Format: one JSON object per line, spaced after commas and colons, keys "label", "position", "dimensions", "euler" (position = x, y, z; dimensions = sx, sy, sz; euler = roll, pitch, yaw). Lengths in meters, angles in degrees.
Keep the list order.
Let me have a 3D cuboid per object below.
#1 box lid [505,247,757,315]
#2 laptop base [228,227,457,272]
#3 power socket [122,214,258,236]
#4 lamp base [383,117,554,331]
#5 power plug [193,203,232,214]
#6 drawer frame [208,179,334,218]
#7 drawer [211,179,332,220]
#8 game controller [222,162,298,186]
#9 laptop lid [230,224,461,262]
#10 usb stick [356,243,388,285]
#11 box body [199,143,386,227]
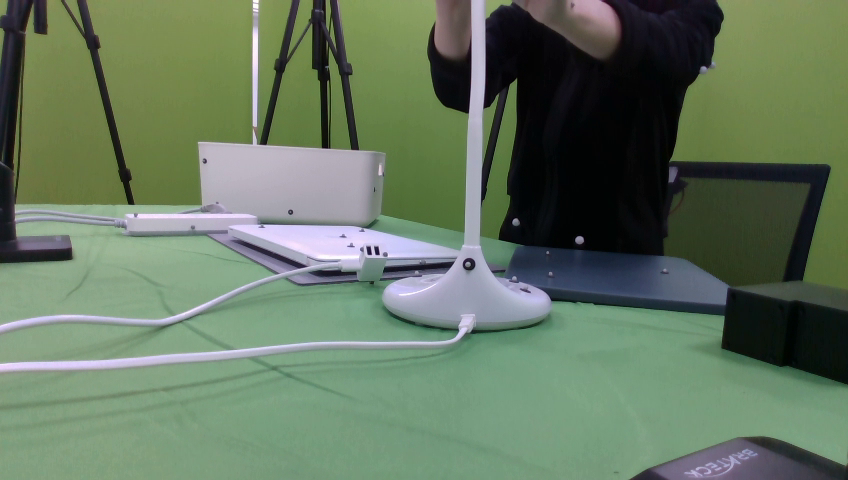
{"label": "box lid", "position": [0.244, 0.044, 0.793], "dimensions": [0.263, 0.015, 0.372], "euler": [4, 7, 10]}
{"label": "laptop base", "position": [-0.122, 0.011, 0.889], "dimensions": [0.237, 0.023, 0.352], "euler": [2, 6, -35]}
{"label": "power socket", "position": [-0.398, -0.028, 1.049], "dimensions": [0.228, 0.032, 0.072], "euler": [-3, 8, -34]}
{"label": "lamp base", "position": [0.045, -0.019, 0.546], "dimensions": [0.161, 0.180, 0.179], "euler": [2, 10, -4]}
{"label": "power plug", "position": [-0.394, -0.042, 1.139], "dimensions": [0.072, 0.052, 0.035], "euler": [-14, 1, 31]}
{"label": "drawer frame", "position": [-0.327, -0.093, 1.328], "dimensions": [0.213, 0.082, 0.202], "euler": [-1, 5, 6]}
{"label": "drawer", "position": [-0.328, -0.095, 1.332], "dimensions": [0.212, 0.073, 0.194], "euler": [5, 8, 6]}
{"label": "game controller", "position": [-0.357, -0.143, 1.321], "dimensions": [0.156, 0.051, 0.097], "euler": [1, 2, -16]}
{"label": "laptop lid", "position": [-0.119, 0.000, 0.889], "dimensions": [0.243, 0.013, 0.355], "euler": [0, 7, -33]}
{"label": "usb stick", "position": [-0.058, 0.029, 0.658], "dimensions": [0.027, 0.059, 0.021], "euler": [-4, 53, -18]}
{"label": "box body", "position": [-0.276, -0.124, 1.334], "dimensions": [0.364, 0.160, 0.254], "euler": [3, 7, 1]}
